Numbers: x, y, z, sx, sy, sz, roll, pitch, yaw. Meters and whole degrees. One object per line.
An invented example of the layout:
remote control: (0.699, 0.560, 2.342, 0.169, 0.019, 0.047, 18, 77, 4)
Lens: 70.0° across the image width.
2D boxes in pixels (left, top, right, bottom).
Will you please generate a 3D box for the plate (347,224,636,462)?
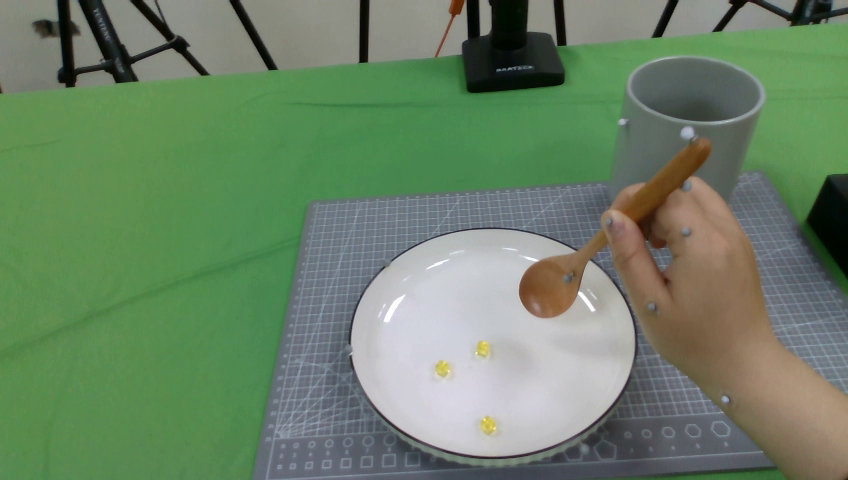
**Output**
plate: (0.048, 0.071, 0.455, 0.207, 0.039, 0.205, -3, 44, 3)

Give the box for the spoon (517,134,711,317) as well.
spoon: (0.107, 0.001, 0.369, 0.021, 0.194, 0.041, -31, 75, -28)

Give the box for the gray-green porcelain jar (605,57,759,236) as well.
gray-green porcelain jar: (0.215, -0.075, 0.524, 0.106, 0.128, 0.105, -3, 44, 4)
